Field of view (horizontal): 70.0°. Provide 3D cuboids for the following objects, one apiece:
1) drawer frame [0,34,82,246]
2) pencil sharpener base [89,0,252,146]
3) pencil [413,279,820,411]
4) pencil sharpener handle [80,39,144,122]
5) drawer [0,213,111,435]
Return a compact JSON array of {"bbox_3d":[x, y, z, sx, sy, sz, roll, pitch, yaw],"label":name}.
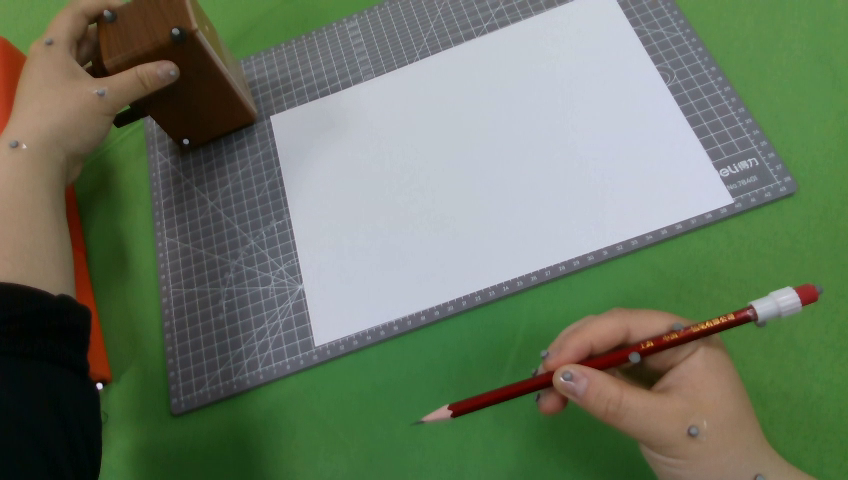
[{"bbox_3d":[-0.411,-0.041,0.509,0.201,0.083,0.211,-28,63,1],"label":"drawer frame"},{"bbox_3d":[-0.194,-0.134,0.471,0.077,0.108,0.061,-25,63,0],"label":"pencil sharpener base"},{"bbox_3d":[0.086,0.052,0.285,0.194,0.012,0.012,-19,64,6],"label":"pencil"},{"bbox_3d":[-0.243,-0.117,0.459,0.030,0.068,0.035,-25,59,0],"label":"pencil sharpener handle"},{"bbox_3d":[-0.361,0.052,0.459,0.194,0.074,0.209,-28,64,1],"label":"drawer"}]
